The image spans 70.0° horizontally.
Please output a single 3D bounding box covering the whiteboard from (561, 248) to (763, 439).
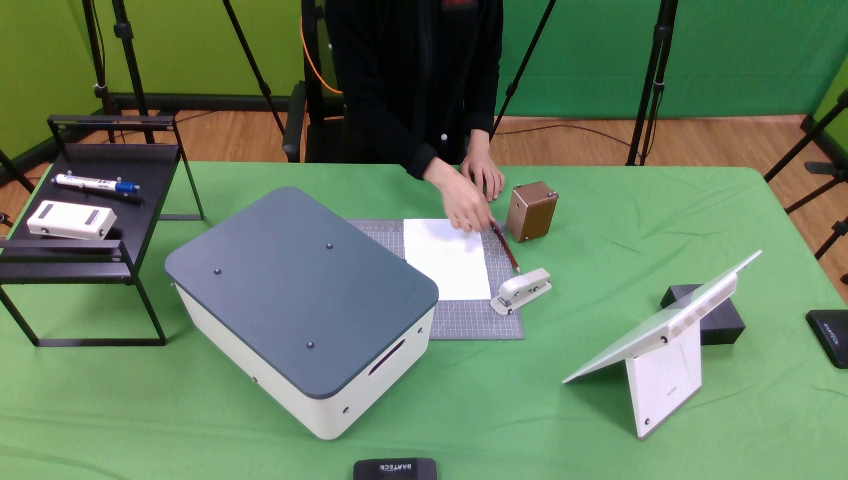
[{"bbox_3d":[0.386,0.176,0.905,0.217,0.306,0.143,-26,72,-27],"label":"whiteboard"}]

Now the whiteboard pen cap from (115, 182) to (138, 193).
[{"bbox_3d":[-0.483,-0.086,0.984,0.033,0.018,0.018,7,46,10],"label":"whiteboard pen cap"}]

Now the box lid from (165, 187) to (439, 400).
[{"bbox_3d":[-0.186,0.060,0.925,0.370,0.015,0.263,32,53,25],"label":"box lid"}]

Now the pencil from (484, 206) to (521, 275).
[{"bbox_3d":[0.158,-0.001,1.217,0.012,0.012,0.192,-10,48,-14],"label":"pencil"}]

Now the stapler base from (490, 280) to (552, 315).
[{"bbox_3d":[0.181,0.094,1.118,0.130,0.024,0.041,-24,56,-29],"label":"stapler base"}]

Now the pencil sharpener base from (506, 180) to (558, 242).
[{"bbox_3d":[0.216,-0.059,1.211,0.077,0.107,0.061,-16,49,-19],"label":"pencil sharpener base"}]

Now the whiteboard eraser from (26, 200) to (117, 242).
[{"bbox_3d":[-0.532,-0.026,0.919,0.113,0.042,0.055,7,45,3],"label":"whiteboard eraser"}]

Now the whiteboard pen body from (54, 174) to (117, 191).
[{"bbox_3d":[-0.541,-0.093,0.993,0.140,0.017,0.017,7,46,9],"label":"whiteboard pen body"}]

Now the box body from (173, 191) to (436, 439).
[{"bbox_3d":[-0.191,0.110,0.979,0.362,0.161,0.254,33,53,24],"label":"box body"}]

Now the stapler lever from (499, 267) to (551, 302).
[{"bbox_3d":[0.185,0.076,1.101,0.118,0.040,0.026,-25,56,-29],"label":"stapler lever"}]

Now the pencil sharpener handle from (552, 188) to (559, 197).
[{"bbox_3d":[0.261,-0.084,1.221,0.031,0.068,0.036,-16,66,-19],"label":"pencil sharpener handle"}]
